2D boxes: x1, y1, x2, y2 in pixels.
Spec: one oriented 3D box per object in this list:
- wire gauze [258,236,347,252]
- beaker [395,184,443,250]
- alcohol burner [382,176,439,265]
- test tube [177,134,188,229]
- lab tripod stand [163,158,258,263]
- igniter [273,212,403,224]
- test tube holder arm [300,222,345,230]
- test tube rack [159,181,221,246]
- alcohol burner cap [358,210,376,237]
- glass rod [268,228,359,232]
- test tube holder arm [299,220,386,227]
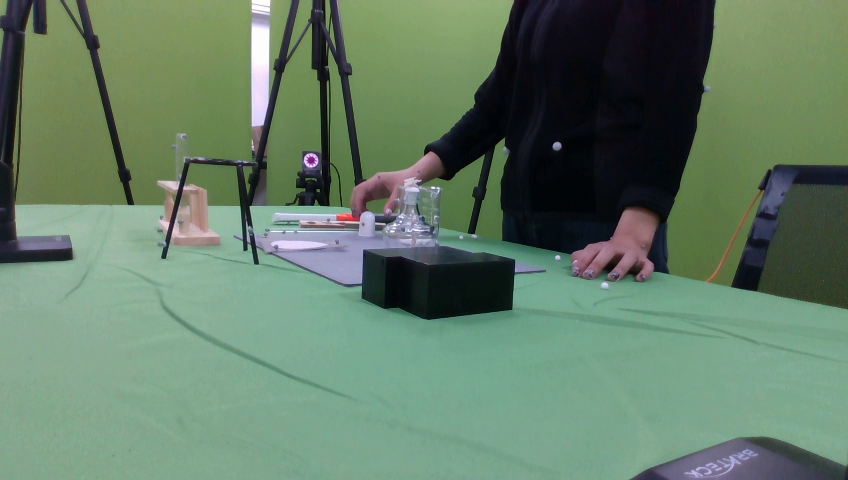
[{"bbox_3d":[-0.189,0.005,0.931,0.122,0.011,0.124,1,7,-21],"label":"wire gauze"},{"bbox_3d":[-0.007,-0.037,0.965,0.074,0.100,0.083,-4,11,-40],"label":"beaker"},{"bbox_3d":[-0.018,-0.027,0.818,0.078,0.119,0.078,3,9,0],"label":"alcohol burner"},{"bbox_3d":[-0.374,-0.089,0.938,0.017,0.150,0.017,2,4,0],"label":"test tube"},{"bbox_3d":[-0.265,-0.041,0.802,0.148,0.131,0.148,4,7,0],"label":"lab tripod stand"},{"bbox_3d":[-0.179,-0.048,1.290,0.278,0.025,0.057,-1,-2,-24],"label":"igniter"},{"bbox_3d":[-0.196,-0.027,1.170,0.088,0.015,0.010,-1,43,-28],"label":"test tube holder arm"},{"bbox_3d":[-0.395,-0.050,1.010,0.067,0.085,0.241,-2,8,-28],"label":"test tube rack"},{"bbox_3d":[-0.104,-0.030,1.098,0.034,0.048,0.034,2,9,0],"label":"alcohol burner cap"},{"bbox_3d":[-0.193,-0.018,1.128,0.201,0.008,0.008,0,7,-35],"label":"glass rod"},{"bbox_3d":[-0.158,-0.032,1.195,0.179,0.015,0.013,-1,43,-29],"label":"test tube holder arm"}]
